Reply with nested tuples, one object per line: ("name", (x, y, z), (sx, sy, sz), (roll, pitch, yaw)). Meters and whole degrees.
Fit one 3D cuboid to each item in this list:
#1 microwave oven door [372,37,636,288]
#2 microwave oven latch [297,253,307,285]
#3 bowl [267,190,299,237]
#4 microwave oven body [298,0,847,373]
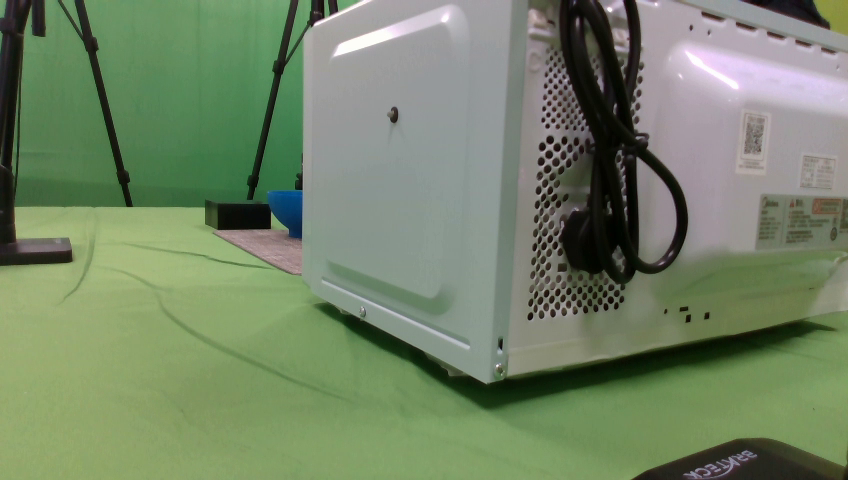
("microwave oven door", (0.110, -0.080, 0.686), (0.358, 0.243, 0.039), (-2, 9, -33))
("microwave oven latch", (-0.082, 0.027, 0.582), (0.079, 0.029, 0.030), (-1, 7, -32))
("bowl", (-0.202, -0.046, 1.069), (0.151, 0.077, 0.151), (3, 7, 0))
("microwave oven body", (0.151, -0.055, 0.543), (0.444, 0.260, 0.324), (-1, 8, -33))
